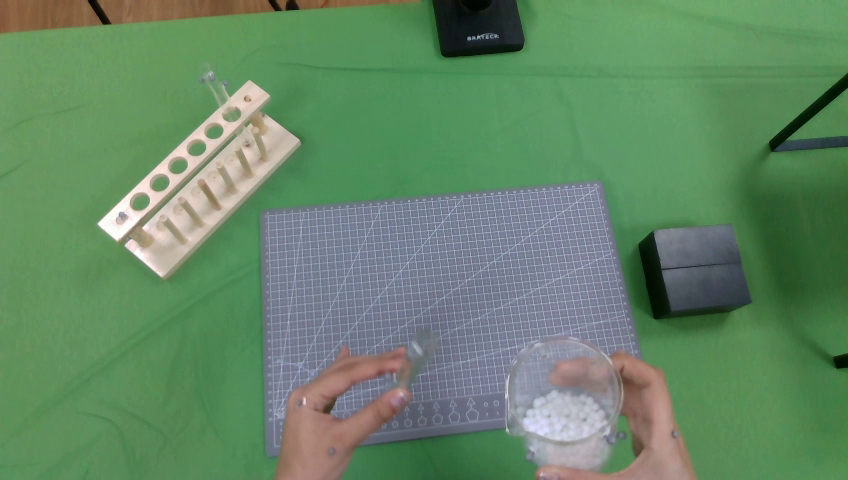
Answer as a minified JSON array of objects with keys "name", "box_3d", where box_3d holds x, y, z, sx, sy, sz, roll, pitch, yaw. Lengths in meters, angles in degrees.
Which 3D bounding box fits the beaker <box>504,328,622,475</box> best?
[{"name":"beaker","box_3d":[0.097,0.120,0.427,0.084,0.101,0.073,-34,53,-10]}]

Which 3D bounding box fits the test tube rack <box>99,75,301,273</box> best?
[{"name":"test tube rack","box_3d":[-0.262,-0.080,0.738,0.066,0.085,0.242,38,74,10]}]

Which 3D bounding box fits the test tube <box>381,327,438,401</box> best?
[{"name":"test tube","box_3d":[-0.014,0.097,0.453,0.017,0.151,0.017,6,61,-11]}]

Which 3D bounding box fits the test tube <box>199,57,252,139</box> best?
[{"name":"test tube","box_3d":[-0.231,-0.163,0.715,0.017,0.151,0.017,0,69,1]}]
